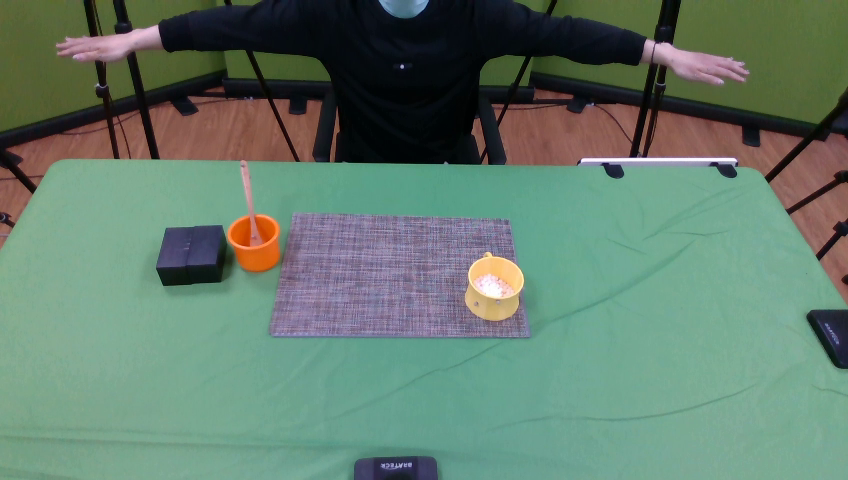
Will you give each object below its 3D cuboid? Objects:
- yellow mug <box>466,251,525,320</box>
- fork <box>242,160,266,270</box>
[{"bbox_3d":[0.125,0.074,1.096,0.100,0.064,0.130,-4,45,-7],"label":"yellow mug"},{"bbox_3d":[-0.320,-0.047,1.130,0.028,0.018,0.207,-9,91,-2],"label":"fork"}]
